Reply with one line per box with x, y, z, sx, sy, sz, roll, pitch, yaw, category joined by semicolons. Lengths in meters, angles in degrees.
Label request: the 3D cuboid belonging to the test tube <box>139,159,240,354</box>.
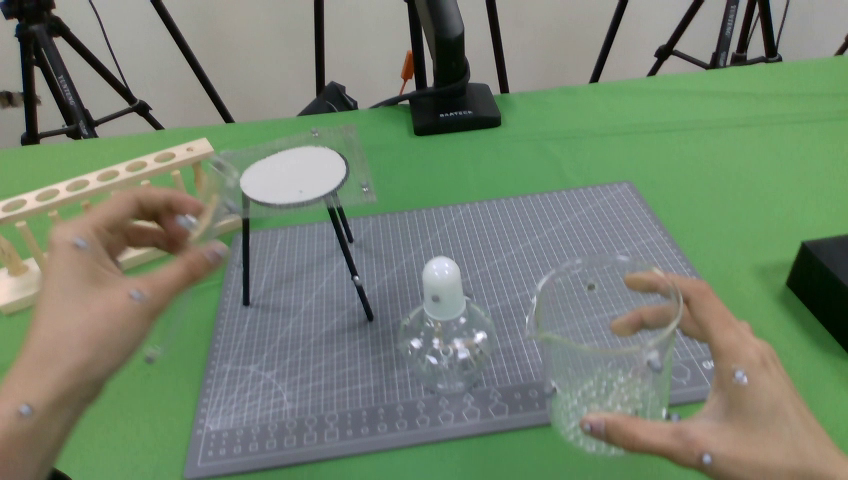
-0.144;0.016;0.362;0.017;0.151;0.017;26;28;-14;test tube

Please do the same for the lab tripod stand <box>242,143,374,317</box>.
-0.106;-0.007;0.545;0.148;0.133;0.147;-3;41;3;lab tripod stand

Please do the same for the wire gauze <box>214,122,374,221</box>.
-0.111;-0.058;0.502;0.125;0.011;0.120;-12;39;-7;wire gauze

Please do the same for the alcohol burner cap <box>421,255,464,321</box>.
0.012;0.032;0.442;0.034;0.048;0.033;-4;41;4;alcohol burner cap

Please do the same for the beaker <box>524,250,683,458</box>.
0.099;0.068;0.342;0.084;0.101;0.073;-19;37;-8;beaker

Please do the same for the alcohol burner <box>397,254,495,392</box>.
0.016;0.060;0.465;0.078;0.120;0.077;-3;37;3;alcohol burner

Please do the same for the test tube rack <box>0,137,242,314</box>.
-0.326;-0.021;0.631;0.243;0.086;0.066;-23;42;-21;test tube rack
